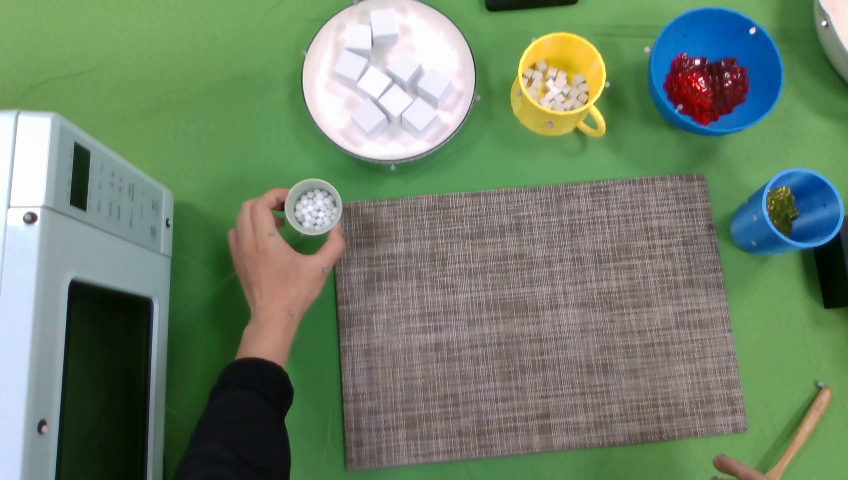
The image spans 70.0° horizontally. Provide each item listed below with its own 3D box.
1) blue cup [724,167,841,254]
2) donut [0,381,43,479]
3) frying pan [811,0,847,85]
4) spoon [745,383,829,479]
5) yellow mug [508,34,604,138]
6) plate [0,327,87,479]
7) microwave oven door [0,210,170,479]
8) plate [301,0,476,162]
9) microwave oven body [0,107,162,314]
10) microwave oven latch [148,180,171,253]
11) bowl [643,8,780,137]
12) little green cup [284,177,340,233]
[{"bbox_3d":[0.387,-0.024,0.674,0.093,0.100,0.092,0,78,-1],"label":"blue cup"},{"bbox_3d":[-0.422,0.186,0.587,0.099,0.048,0.098,1,81,-3],"label":"donut"},{"bbox_3d":[0.608,-0.180,0.701,0.307,0.103,0.484,0,72,1],"label":"frying pan"},{"bbox_3d":[0.395,0.236,0.668,0.041,0.022,0.193,38,82,18],"label":"spoon"},{"bbox_3d":[0.165,-0.171,0.716,0.100,0.064,0.130,-42,83,-7],"label":"yellow mug"},{"bbox_3d":[-0.434,0.191,0.599,0.209,0.038,0.208,0,82,-1],"label":"plate"},{"bbox_3d":[-0.299,0.171,0.545,0.039,0.244,0.354,-2,80,0],"label":"microwave oven door"},{"bbox_3d":[-0.041,-0.191,0.733,0.208,0.039,0.207,0,80,0],"label":"plate"},{"bbox_3d":[-0.447,0.134,0.556,0.326,0.261,0.440,-2,80,-1],"label":"microwave oven body"},{"bbox_3d":[-0.303,-0.026,0.683,0.030,0.029,0.079,0,81,-1],"label":"microwave oven latch"},{"bbox_3d":[0.324,-0.184,0.714,0.151,0.077,0.151,0,80,0],"label":"bowl"},{"bbox_3d":[-0.121,-0.037,0.665,0.061,0.038,0.061,0,89,-4],"label":"little green cup"}]
